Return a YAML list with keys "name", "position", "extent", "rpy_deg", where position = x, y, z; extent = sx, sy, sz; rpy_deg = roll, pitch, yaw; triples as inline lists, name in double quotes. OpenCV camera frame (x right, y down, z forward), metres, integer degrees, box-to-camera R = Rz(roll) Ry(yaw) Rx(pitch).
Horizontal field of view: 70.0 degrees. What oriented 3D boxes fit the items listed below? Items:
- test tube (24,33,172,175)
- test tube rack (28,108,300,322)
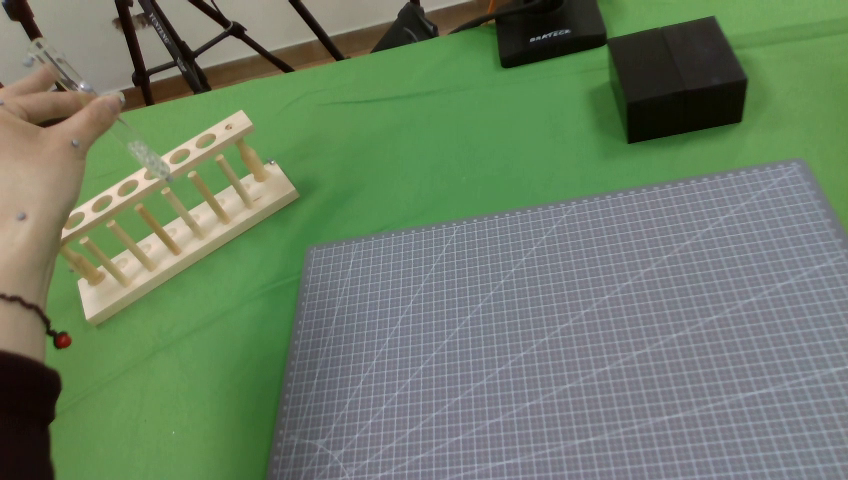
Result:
- name: "test tube"
  position: [-0.241, -0.097, 0.463]
  extent: [0.017, 0.152, 0.017]
  rpy_deg: [-6, 60, 12]
- name: "test tube rack"
  position: [-0.259, -0.027, 0.618]
  extent: [0.242, 0.086, 0.066]
  rpy_deg: [-34, 49, -9]
